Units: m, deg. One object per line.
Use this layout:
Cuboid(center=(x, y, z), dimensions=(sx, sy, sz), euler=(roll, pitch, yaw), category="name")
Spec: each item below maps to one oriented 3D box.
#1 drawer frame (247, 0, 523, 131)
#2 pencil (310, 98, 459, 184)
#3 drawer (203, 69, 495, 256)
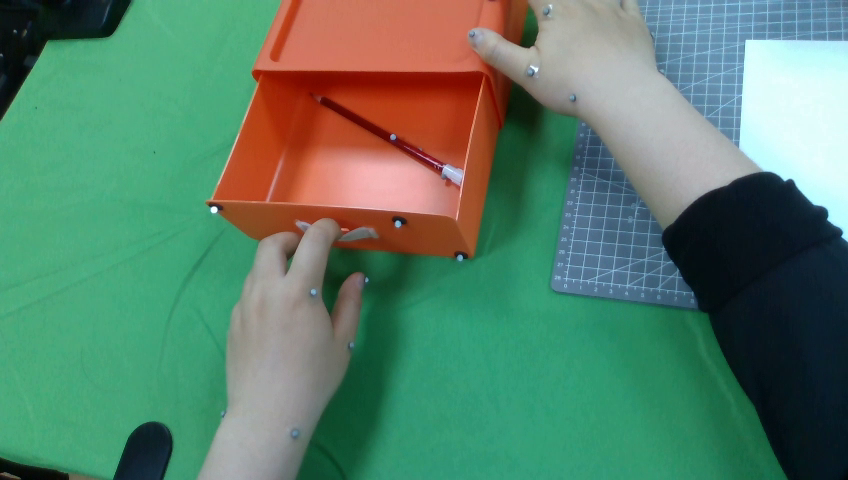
Cuboid(center=(-0.021, -0.203, 0.524), dimensions=(0.201, 0.083, 0.212), euler=(5, 66, 19), category="drawer frame")
Cuboid(center=(-0.037, -0.088, 0.507), dimensions=(0.192, 0.012, 0.012), euler=(32, 77, 30), category="pencil")
Cuboid(center=(-0.045, -0.098, 0.481), dimensions=(0.193, 0.074, 0.210), euler=(4, 66, 20), category="drawer")
